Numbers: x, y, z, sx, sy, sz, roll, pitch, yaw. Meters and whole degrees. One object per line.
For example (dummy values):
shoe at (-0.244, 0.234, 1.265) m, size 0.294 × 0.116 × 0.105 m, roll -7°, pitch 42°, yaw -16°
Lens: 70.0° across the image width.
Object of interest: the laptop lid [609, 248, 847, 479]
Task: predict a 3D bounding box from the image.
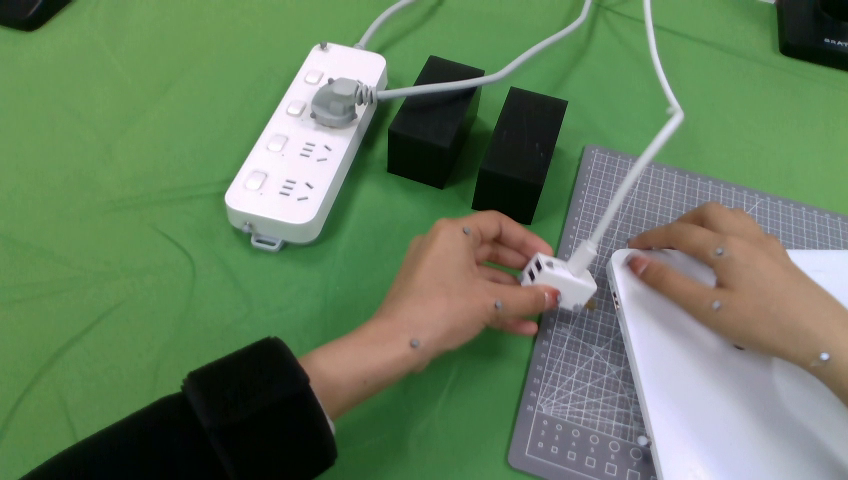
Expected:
laptop lid at (0.315, 0.105, 0.401) m, size 0.357 × 0.013 × 0.239 m, roll 2°, pitch 57°, yaw -3°

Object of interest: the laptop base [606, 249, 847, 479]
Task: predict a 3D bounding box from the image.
laptop base at (0.314, 0.110, 0.412) m, size 0.355 × 0.023 × 0.233 m, roll 1°, pitch 58°, yaw -5°

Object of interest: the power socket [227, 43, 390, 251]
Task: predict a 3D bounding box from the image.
power socket at (-0.090, -0.089, 0.508) m, size 0.072 × 0.033 × 0.225 m, roll 15°, pitch 54°, yaw 4°

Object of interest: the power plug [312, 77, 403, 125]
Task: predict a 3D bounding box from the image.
power plug at (-0.057, -0.103, 0.493) m, size 0.072 × 0.053 × 0.035 m, roll 24°, pitch 56°, yaw 11°

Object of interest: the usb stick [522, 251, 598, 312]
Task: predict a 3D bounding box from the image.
usb stick at (0.099, 0.031, 0.416) m, size 0.059 × 0.027 × 0.021 m, roll 23°, pitch 30°, yaw -21°
